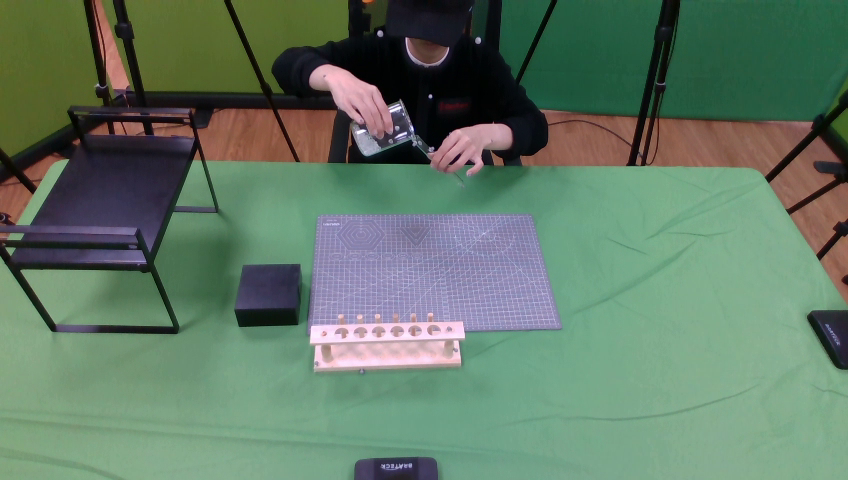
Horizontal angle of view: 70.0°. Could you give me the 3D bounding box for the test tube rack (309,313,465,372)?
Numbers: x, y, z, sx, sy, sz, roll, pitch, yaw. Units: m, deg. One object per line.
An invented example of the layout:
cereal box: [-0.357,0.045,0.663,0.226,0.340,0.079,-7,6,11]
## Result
test tube rack: [-0.059,0.161,0.990,0.242,0.085,0.066,-1,46,-5]

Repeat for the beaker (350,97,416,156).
beaker: [-0.072,-0.195,1.065,0.100,0.084,0.073,-20,42,5]

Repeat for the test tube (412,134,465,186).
test tube: [0.030,-0.147,1.130,0.017,0.151,0.017,-27,42,28]
